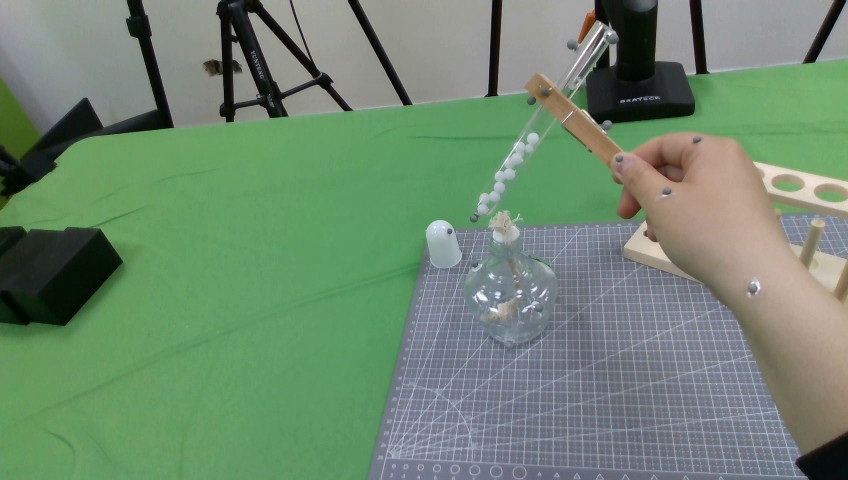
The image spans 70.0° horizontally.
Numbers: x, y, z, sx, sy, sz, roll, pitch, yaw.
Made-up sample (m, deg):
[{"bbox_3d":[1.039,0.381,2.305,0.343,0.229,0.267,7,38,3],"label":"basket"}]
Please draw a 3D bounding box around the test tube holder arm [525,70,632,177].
[{"bbox_3d":[0.100,-0.076,0.394,0.087,0.015,0.010,48,21,8],"label":"test tube holder arm"}]

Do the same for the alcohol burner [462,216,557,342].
[{"bbox_3d":[0.067,0.026,0.483,0.078,0.120,0.077,-7,42,7],"label":"alcohol burner"}]

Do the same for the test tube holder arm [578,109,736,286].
[{"bbox_3d":[0.130,-0.043,0.389,0.015,0.013,0.177,-45,73,21],"label":"test tube holder arm"}]

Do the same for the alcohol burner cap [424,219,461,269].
[{"bbox_3d":[0.016,0.001,0.584,0.034,0.048,0.033,-7,41,7],"label":"alcohol burner cap"}]

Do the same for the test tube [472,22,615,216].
[{"bbox_3d":[0.077,-0.077,0.411,0.017,0.150,0.017,28,23,-13],"label":"test tube"}]

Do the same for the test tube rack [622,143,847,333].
[{"bbox_3d":[0.283,0.001,0.470,0.240,0.086,0.066,22,52,36],"label":"test tube rack"}]
